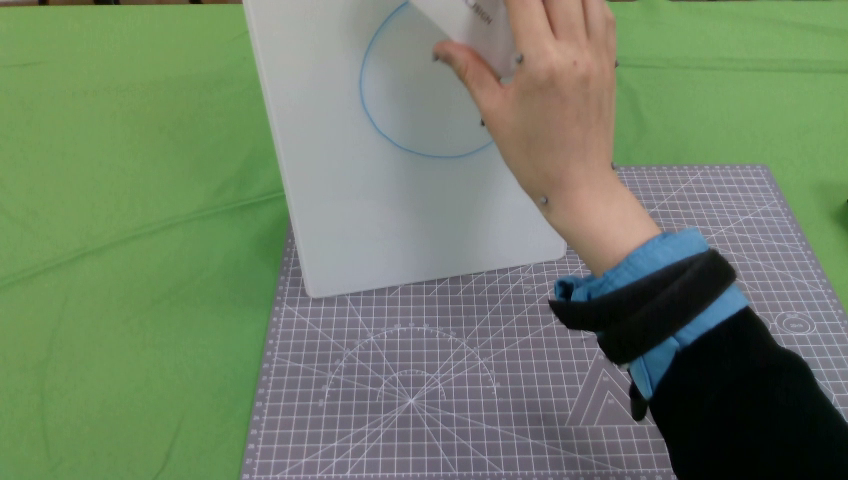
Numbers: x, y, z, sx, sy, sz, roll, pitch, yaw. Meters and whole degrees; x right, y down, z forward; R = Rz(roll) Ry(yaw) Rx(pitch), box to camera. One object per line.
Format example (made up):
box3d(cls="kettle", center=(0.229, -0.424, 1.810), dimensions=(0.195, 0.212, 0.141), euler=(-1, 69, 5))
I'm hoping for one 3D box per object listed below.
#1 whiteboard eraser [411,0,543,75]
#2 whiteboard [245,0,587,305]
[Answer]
box3d(cls="whiteboard eraser", center=(0.028, -0.135, 0.349), dimensions=(0.041, 0.102, 0.018), euler=(-50, 29, 14))
box3d(cls="whiteboard", center=(-0.007, -0.129, 0.469), dimensions=(0.217, 0.308, 0.142), euler=(-8, 31, -6))
